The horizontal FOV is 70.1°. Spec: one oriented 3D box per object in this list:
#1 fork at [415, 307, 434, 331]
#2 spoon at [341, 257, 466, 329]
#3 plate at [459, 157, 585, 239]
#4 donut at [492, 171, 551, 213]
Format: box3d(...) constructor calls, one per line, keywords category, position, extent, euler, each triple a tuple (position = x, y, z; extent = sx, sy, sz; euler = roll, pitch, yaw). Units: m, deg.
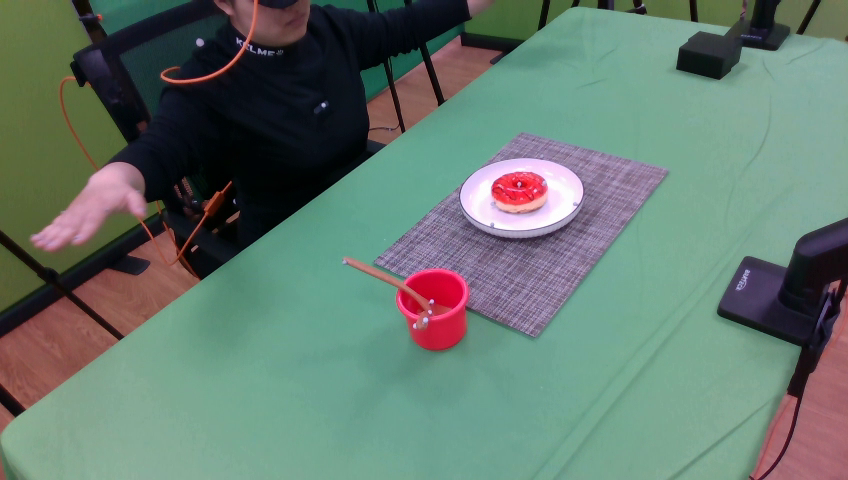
box3d(category="fork", position=(0.001, 0.098, 0.761), extent=(0.028, 0.207, 0.018), euler=(26, 87, 3))
box3d(category="spoon", position=(-0.025, 0.069, 0.811), extent=(0.195, 0.021, 0.041), euler=(34, 30, -18))
box3d(category="plate", position=(0.163, -0.068, 1.015), extent=(0.209, 0.038, 0.208), euler=(-5, 40, 5))
box3d(category="donut", position=(0.163, -0.083, 1.015), extent=(0.099, 0.048, 0.098), euler=(-6, 37, 5))
